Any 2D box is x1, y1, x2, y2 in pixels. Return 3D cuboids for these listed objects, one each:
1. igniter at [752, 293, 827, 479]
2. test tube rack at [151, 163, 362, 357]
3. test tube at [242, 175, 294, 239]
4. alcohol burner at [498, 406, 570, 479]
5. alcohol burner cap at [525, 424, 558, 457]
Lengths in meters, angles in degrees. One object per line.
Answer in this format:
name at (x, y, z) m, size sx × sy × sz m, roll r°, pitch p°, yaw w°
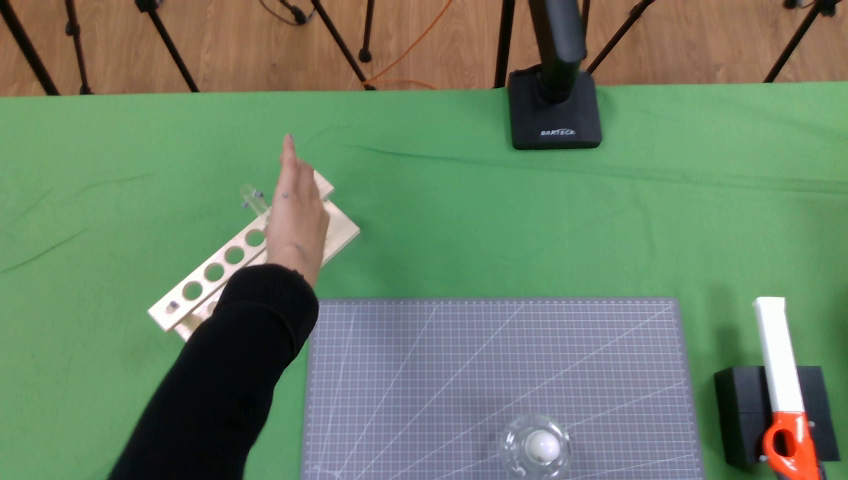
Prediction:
igniter at (0.384, 0.189, 0.640) m, size 0.057 × 0.025 × 0.274 m, roll 3°, pitch 68°, yaw 3°
test tube rack at (-0.189, 0.024, 0.720) m, size 0.242 × 0.086 × 0.066 m, roll -43°, pitch 75°, yaw -14°
test tube at (-0.174, -0.034, 0.688) m, size 0.017 × 0.151 × 0.017 m, roll -2°, pitch 69°, yaw 4°
alcohol burner at (0.118, 0.211, 0.634) m, size 0.078 × 0.120 × 0.077 m, roll 1°, pitch 68°, yaw -1°
alcohol burner cap at (0.118, 0.199, 0.600) m, size 0.034 × 0.048 × 0.033 m, roll -1°, pitch 72°, yaw 4°
